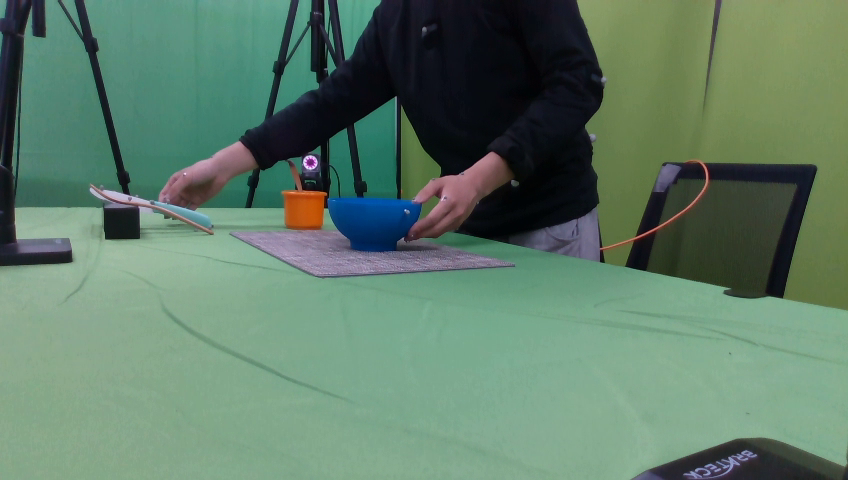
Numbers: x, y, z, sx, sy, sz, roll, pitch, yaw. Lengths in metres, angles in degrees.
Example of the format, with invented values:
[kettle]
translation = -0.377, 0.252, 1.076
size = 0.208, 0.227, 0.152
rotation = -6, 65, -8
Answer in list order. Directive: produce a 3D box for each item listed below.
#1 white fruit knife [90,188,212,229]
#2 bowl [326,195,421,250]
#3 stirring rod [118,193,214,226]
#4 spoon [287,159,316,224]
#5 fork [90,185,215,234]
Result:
[white fruit knife]
translation = -0.479, -0.058, 1.074
size = 0.208, 0.027, 0.016
rotation = 17, -2, -30
[bowl]
translation = -0.081, -0.027, 0.958
size = 0.151, 0.077, 0.151
rotation = 2, 7, 0
[stirring rod]
translation = -0.484, -0.057, 1.142
size = 0.177, 0.006, 0.014
rotation = 21, -4, -29
[spoon]
translation = -0.261, -0.103, 1.264
size = 0.042, 0.193, 0.021
rotation = -2, -36, -27
[fork]
translation = -0.452, -0.049, 1.018
size = 0.208, 0.018, 0.028
rotation = 21, -7, -33
